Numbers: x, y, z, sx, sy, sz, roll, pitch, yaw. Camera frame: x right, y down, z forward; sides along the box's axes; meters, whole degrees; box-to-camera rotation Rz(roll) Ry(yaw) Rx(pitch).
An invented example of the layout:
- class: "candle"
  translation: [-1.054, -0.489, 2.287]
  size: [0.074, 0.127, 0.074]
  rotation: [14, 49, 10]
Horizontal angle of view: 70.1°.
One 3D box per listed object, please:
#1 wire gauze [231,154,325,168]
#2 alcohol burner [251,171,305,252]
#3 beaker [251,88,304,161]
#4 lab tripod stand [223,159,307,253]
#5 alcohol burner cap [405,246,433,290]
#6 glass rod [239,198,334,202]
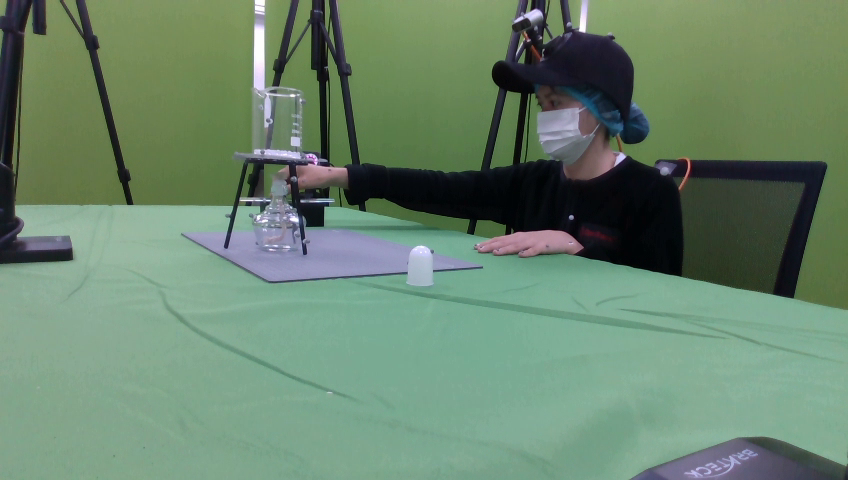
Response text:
- class: "wire gauze"
  translation: [-0.215, -0.117, 0.882]
  size: [0.125, 0.011, 0.121]
  rotation: [3, 7, -19]
- class: "alcohol burner"
  translation: [-0.214, -0.042, 0.888]
  size: [0.078, 0.119, 0.078]
  rotation: [1, 9, 0]
- class: "beaker"
  translation: [-0.214, -0.165, 0.874]
  size: [0.074, 0.100, 0.084]
  rotation: [4, 6, 15]
- class: "lab tripod stand"
  translation: [-0.220, -0.053, 0.896]
  size: [0.148, 0.131, 0.148]
  rotation: [1, 6, 0]
- class: "alcohol burner cap"
  translation: [-0.005, 0.031, 0.698]
  size: [0.034, 0.048, 0.034]
  rotation: [3, 8, 0]
- class: "glass rod"
  translation: [-0.277, -0.081, 1.232]
  size: [0.201, 0.008, 0.008]
  rotation: [-1, 8, -30]
